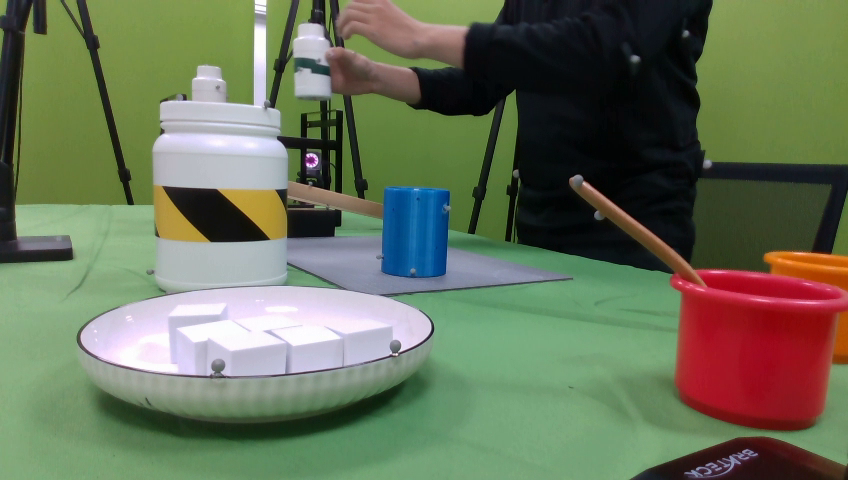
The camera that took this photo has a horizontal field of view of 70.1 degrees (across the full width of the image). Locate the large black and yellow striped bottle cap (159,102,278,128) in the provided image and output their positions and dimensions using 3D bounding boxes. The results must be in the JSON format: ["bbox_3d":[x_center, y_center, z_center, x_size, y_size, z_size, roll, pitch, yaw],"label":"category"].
[{"bbox_3d":[-0.207,-0.125,0.615,0.115,0.019,0.115,2,6,0],"label":"large black and yellow striped bottle cap"}]

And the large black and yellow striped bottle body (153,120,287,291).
[{"bbox_3d":[-0.208,-0.042,0.626,0.131,0.184,0.130,2,7,0],"label":"large black and yellow striped bottle body"}]

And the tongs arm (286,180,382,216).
[{"bbox_3d":[-0.122,-0.066,1.147,0.387,0.026,0.050,11,-2,-37],"label":"tongs arm"}]

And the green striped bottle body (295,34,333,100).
[{"bbox_3d":[-0.190,-0.305,1.042,0.063,0.119,0.063,-1,6,0],"label":"green striped bottle body"}]

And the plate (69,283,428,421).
[{"bbox_3d":[-0.102,0.066,0.381,0.208,0.039,0.207,2,7,0],"label":"plate"}]

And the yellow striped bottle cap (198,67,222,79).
[{"bbox_3d":[-0.411,-0.320,1.163,0.044,0.018,0.044,1,6,0],"label":"yellow striped bottle cap"}]

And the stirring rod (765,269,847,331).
[{"bbox_3d":[0.352,0.020,0.484,0.176,0.006,0.014,-40,-7,13],"label":"stirring rod"}]

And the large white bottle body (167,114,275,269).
[{"bbox_3d":[-0.257,-0.063,0.771,0.131,0.184,0.130,2,7,0],"label":"large white bottle body"}]

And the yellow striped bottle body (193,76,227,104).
[{"bbox_3d":[-0.414,-0.268,1.169,0.063,0.120,0.063,2,7,0],"label":"yellow striped bottle body"}]

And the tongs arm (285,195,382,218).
[{"bbox_3d":[-0.165,-0.074,1.216,0.389,0.027,0.028,11,-6,-24],"label":"tongs arm"}]

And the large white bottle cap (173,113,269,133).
[{"bbox_3d":[-0.254,-0.146,0.760,0.115,0.018,0.115,1,7,0],"label":"large white bottle cap"}]

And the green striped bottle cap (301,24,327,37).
[{"bbox_3d":[-0.189,-0.357,1.037,0.044,0.020,0.044,1,8,0],"label":"green striped bottle cap"}]

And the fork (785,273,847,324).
[{"bbox_3d":[0.332,0.018,0.444,0.028,0.018,0.207,-2,-35,-15],"label":"fork"}]

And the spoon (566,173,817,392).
[{"bbox_3d":[0.161,0.024,0.370,0.193,0.021,0.042,47,18,3],"label":"spoon"}]

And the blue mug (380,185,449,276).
[{"bbox_3d":[-0.018,-0.016,0.764,0.083,0.106,0.116,-2,8,-25],"label":"blue mug"}]
